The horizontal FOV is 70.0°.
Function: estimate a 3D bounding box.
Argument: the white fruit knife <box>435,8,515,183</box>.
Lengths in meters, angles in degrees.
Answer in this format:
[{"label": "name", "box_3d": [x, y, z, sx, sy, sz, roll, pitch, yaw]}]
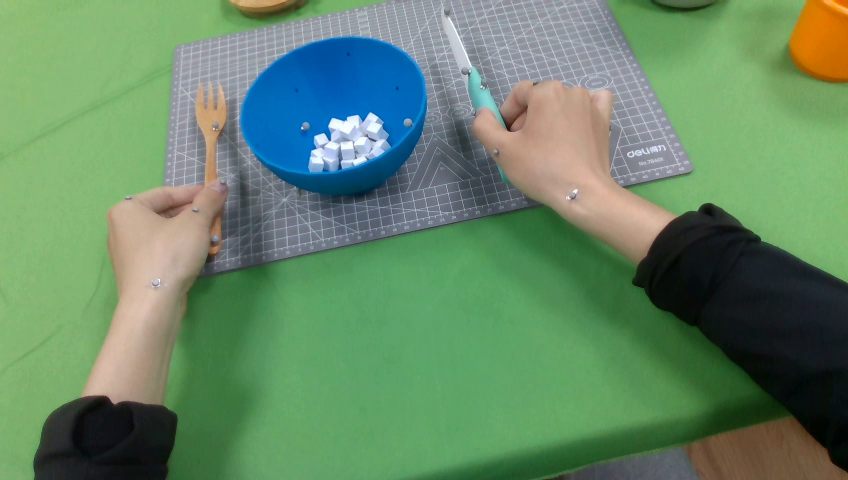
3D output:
[{"label": "white fruit knife", "box_3d": [0.039, -0.137, 0.528, 0.016, 0.027, 0.205, -8, 57, -18]}]

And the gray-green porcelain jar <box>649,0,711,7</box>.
[{"label": "gray-green porcelain jar", "box_3d": [0.251, -0.296, 0.567, 0.106, 0.128, 0.105, -4, 58, 6]}]

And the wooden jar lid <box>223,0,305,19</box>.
[{"label": "wooden jar lid", "box_3d": [-0.175, -0.287, 0.683, 0.108, 0.021, 0.107, -2, 58, 4]}]

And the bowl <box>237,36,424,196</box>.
[{"label": "bowl", "box_3d": [-0.070, -0.090, 0.509, 0.151, 0.077, 0.150, -4, 58, 6]}]

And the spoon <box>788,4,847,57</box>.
[{"label": "spoon", "box_3d": [0.393, -0.210, 0.482, 0.022, 0.194, 0.041, 17, 55, -35]}]

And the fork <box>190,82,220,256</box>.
[{"label": "fork", "box_3d": [-0.190, -0.070, 0.530, 0.028, 0.019, 0.205, 15, 42, -35]}]
